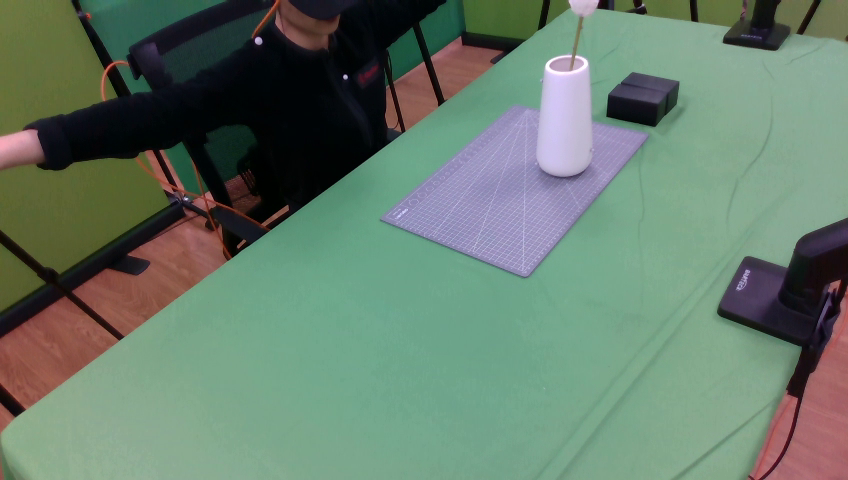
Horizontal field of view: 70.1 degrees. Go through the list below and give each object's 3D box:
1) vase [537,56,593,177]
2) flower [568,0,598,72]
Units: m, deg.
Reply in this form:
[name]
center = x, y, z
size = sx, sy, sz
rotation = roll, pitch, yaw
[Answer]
[vase]
center = 0.245, -0.209, 1.040
size = 0.098, 0.201, 0.097
rotation = -4, 40, 4
[flower]
center = 0.232, -0.260, 0.974
size = 0.044, 0.363, 0.038
rotation = -23, 59, -10
